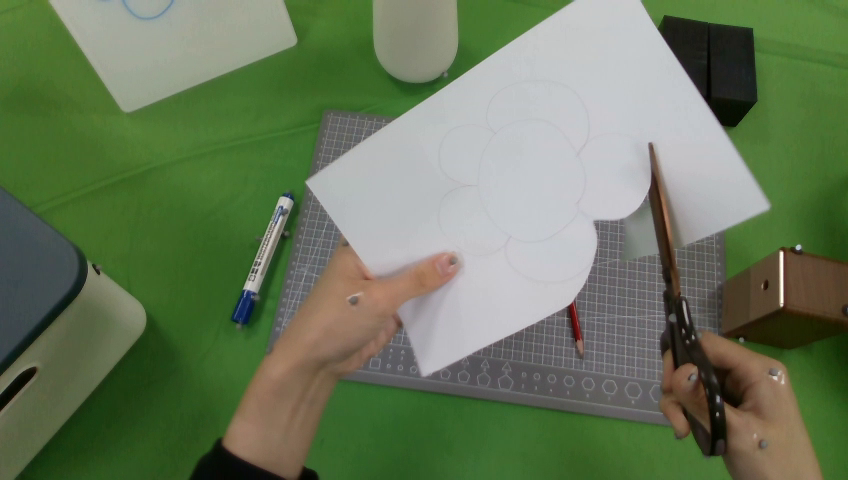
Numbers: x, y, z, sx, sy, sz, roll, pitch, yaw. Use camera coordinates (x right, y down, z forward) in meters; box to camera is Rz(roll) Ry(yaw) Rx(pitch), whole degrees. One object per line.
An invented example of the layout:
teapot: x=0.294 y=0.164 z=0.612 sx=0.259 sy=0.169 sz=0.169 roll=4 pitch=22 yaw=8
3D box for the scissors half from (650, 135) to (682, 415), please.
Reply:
scissors half: x=0.142 y=0.025 z=0.356 sx=0.013 sy=0.040 sz=0.176 roll=-10 pitch=111 yaw=8

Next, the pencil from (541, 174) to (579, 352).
pencil: x=0.142 y=0.020 z=0.627 sx=0.012 sy=0.012 sz=0.192 roll=-6 pitch=71 yaw=-2

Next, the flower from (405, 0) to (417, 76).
flower: x=-0.020 y=-0.306 z=0.561 sx=0.044 sy=0.365 sz=0.038 roll=1 pitch=51 yaw=4

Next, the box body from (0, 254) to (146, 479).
box body: x=-0.472 y=0.043 z=0.532 sx=0.362 sy=0.161 sz=0.253 roll=33 pitch=73 yaw=11

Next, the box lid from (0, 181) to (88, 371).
box lid: x=-0.473 y=0.015 z=0.463 sx=0.370 sy=0.015 sz=0.262 roll=33 pitch=72 yaw=11

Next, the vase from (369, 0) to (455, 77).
vase: x=-0.014 y=-0.263 z=0.633 sx=0.098 sy=0.201 sz=0.097 roll=0 pitch=68 yaw=1

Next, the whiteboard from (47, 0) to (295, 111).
whiteboard: x=-0.302 y=-0.333 z=0.633 sx=0.217 sy=0.308 sz=0.142 roll=-25 pitch=52 yaw=-9

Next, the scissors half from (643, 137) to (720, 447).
scissors half: x=0.140 y=0.029 z=0.335 sx=0.013 sy=0.040 sz=0.175 roll=-11 pitch=88 yaw=3

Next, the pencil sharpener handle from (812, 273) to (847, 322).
pencil sharpener handle: x=0.387 y=0.057 z=0.553 sx=0.030 sy=0.068 sz=0.035 roll=11 pitch=63 yaw=1

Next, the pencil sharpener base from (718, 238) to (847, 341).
pencil sharpener base: x=0.336 y=0.050 z=0.565 sx=0.077 sy=0.107 sz=0.061 roll=11 pitch=69 yaw=1

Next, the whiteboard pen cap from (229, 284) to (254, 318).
whiteboard pen cap: x=-0.180 y=0.060 z=0.603 sx=0.018 sy=0.018 sz=0.033 roll=13 pitch=65 yaw=5

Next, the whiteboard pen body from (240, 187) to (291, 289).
whiteboard pen body: x=-0.166 y=0.007 z=0.625 sx=0.017 sy=0.017 sz=0.140 roll=14 pitch=68 yaw=5
